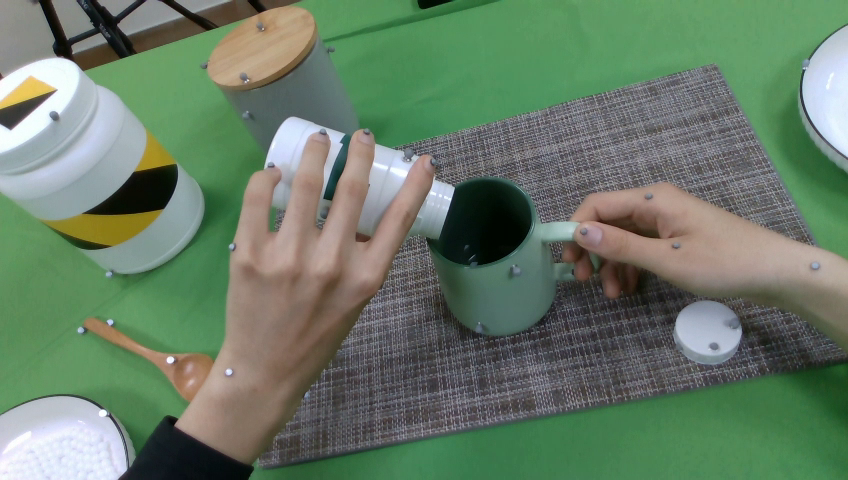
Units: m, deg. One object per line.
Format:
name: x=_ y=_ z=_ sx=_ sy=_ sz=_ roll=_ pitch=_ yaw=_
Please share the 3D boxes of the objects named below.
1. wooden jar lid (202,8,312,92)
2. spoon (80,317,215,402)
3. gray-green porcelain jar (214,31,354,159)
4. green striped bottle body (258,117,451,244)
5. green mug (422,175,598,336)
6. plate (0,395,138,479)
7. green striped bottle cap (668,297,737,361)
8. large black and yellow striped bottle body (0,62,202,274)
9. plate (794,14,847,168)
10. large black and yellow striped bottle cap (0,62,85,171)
wooden jar lid: x=-0.150 y=-0.171 z=0.554 sx=0.108 sy=0.021 sz=0.107 roll=-10 pitch=54 yaw=15
spoon: x=-0.258 y=0.100 z=0.555 sx=0.192 sy=0.022 sz=0.041 roll=16 pitch=83 yaw=25
gray-green porcelain jar: x=-0.134 y=-0.133 z=0.602 sx=0.105 sy=0.128 sz=0.105 roll=-9 pitch=52 yaw=12
green striped bottle body: x=-0.044 y=-0.037 z=0.409 sx=0.119 sy=0.063 sz=0.063 roll=17 pitch=62 yaw=-1
green mug: x=0.065 y=0.012 z=0.455 sx=0.125 sy=0.106 sz=0.091 roll=-6 pitch=56 yaw=14
plate: x=-0.317 y=0.228 z=0.479 sx=0.209 sy=0.038 sz=0.207 roll=-8 pitch=56 yaw=12
green striped bottle cap: x=0.200 y=0.064 z=0.435 sx=0.044 sy=0.020 sz=0.044 roll=-8 pitch=50 yaw=11
large black and yellow striped bottle body: x=-0.319 y=-0.063 z=0.581 sx=0.130 sy=0.186 sz=0.129 roll=-8 pitch=56 yaw=13
plate: x=0.405 y=-0.112 z=0.474 sx=0.207 sy=0.039 sz=0.205 roll=-8 pitch=56 yaw=13
large black and yellow striped bottle cap: x=-0.342 y=-0.106 z=0.513 sx=0.115 sy=0.019 sz=0.114 roll=-8 pitch=55 yaw=12
